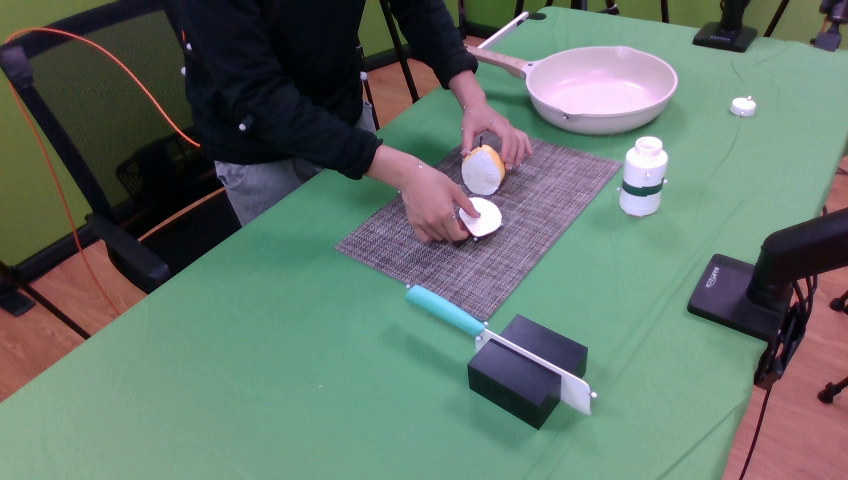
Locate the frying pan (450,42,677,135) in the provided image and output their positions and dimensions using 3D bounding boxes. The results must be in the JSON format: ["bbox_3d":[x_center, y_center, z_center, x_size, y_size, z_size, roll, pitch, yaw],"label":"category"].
[{"bbox_3d":[0.268,-0.344,1.266,0.485,0.103,0.307,26,49,21],"label":"frying pan"}]

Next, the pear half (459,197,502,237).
[{"bbox_3d":[0.089,-0.031,0.976,0.070,0.031,0.088,15,52,2],"label":"pear half"}]

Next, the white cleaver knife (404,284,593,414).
[{"bbox_3d":[0.083,0.135,0.764,0.284,0.066,0.021,28,46,31],"label":"white cleaver knife"}]

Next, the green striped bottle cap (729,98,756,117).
[{"bbox_3d":[0.623,-0.259,1.182,0.044,0.020,0.044,-3,40,3],"label":"green striped bottle cap"}]

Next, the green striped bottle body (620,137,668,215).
[{"bbox_3d":[0.350,-0.103,0.963,0.063,0.120,0.063,-4,41,4],"label":"green striped bottle body"}]

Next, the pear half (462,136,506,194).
[{"bbox_3d":[0.105,-0.139,1.041,0.076,0.110,0.056,11,45,15],"label":"pear half"}]
